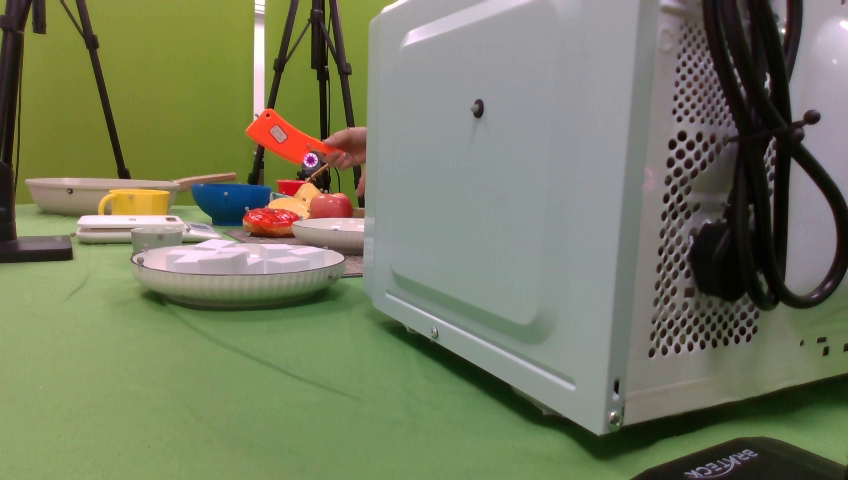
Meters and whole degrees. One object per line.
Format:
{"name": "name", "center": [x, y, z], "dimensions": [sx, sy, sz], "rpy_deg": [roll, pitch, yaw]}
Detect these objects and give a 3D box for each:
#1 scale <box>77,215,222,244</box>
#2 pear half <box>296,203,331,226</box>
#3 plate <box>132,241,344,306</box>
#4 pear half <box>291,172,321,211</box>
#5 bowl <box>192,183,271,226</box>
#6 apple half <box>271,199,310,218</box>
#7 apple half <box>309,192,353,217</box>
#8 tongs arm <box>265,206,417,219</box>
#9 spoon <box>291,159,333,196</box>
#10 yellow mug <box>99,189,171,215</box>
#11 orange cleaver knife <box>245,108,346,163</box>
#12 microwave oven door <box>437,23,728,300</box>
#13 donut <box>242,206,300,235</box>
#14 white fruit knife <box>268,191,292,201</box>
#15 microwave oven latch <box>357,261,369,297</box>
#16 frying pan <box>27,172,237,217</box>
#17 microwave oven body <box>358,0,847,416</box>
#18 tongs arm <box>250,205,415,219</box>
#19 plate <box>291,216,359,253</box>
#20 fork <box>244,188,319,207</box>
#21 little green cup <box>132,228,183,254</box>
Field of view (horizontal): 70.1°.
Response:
{"name": "scale", "center": [-0.434, -0.019, 0.963], "dimensions": [0.202, 0.031, 0.148], "rpy_deg": [-1, 9, -27]}
{"name": "pear half", "center": [-0.229, -0.049, 1.258], "dimensions": [0.070, 0.031, 0.088], "rpy_deg": [0, 23, -3]}
{"name": "plate", "center": [-0.187, 0.033, 0.625], "dimensions": [0.208, 0.039, 0.207], "rpy_deg": [2, 8, 0]}
{"name": "pear half", "center": [-0.228, -0.077, 1.182], "dimensions": [0.076, 0.110, 0.056], "rpy_deg": [-2, 7, 2]}
{"name": "bowl", "center": [-0.382, -0.071, 1.202], "dimensions": [0.151, 0.077, 0.151], "rpy_deg": [3, 7, 0]}
{"name": "apple half", "center": [-0.254, -0.039, 1.143], "dimensions": [0.081, 0.032, 0.081], "rpy_deg": [18, 44, -18]}
{"name": "apple half", "center": [-0.164, -0.050, 1.105], "dimensions": [0.081, 0.074, 0.053], "rpy_deg": [2, 10, -41]}
{"name": "tongs arm", "center": [-0.174, -0.061, 1.363], "dimensions": [0.387, 0.026, 0.050], "rpy_deg": [-1, 2, -32]}
{"name": "spoon", "center": [-0.316, -0.159, 1.640], "dimensions": [0.194, 0.022, 0.041], "rpy_deg": [-50, 32, -20]}
{"name": "yellow mug", "center": [-0.519, -0.055, 1.080], "dimensions": [0.099, 0.064, 0.131], "rpy_deg": [7, 9, 26]}
{"name": "orange cleaver knife", "center": [-0.256, -0.195, 1.227], "dimensions": [0.212, 0.077, 0.012], "rpy_deg": [24, 11, -36]}
{"name": "microwave oven door", "center": [0.181, -0.073, 0.621], "dimensions": [0.358, 0.243, 0.039], "rpy_deg": [-2, 8, -29]}
{"name": "donut", "center": [-0.263, -0.032, 1.039], "dimensions": [0.099, 0.048, 0.099], "rpy_deg": [4, 10, 0]}
{"name": "white fruit knife", "center": [-0.364, -0.105, 1.464], "dimensions": [0.208, 0.027, 0.016], "rpy_deg": [15, -1, -34]}
{"name": "microwave oven latch", "center": [-0.019, 0.033, 0.530], "dimensions": [0.079, 0.029, 0.030], "rpy_deg": [-1, 7, -26]}
{"name": "frying pan", "center": [-0.624, -0.118, 1.387], "dimensions": [0.305, 0.102, 0.490], "rpy_deg": [8, 17, 32]}
{"name": "microwave oven body", "center": [0.211, -0.047, 0.474], "dimensions": [0.444, 0.260, 0.324], "rpy_deg": [-1, 7, -28]}
{"name": "tongs arm", "center": [-0.212, -0.067, 1.440], "dimensions": [0.389, 0.027, 0.028], "rpy_deg": [0, -1, -17]}
{"name": "plate", "center": [-0.103, -0.009, 0.945], "dimensions": [0.209, 0.038, 0.209], "rpy_deg": [2, 8, 0]}
{"name": "fork", "center": [-0.356, -0.105, 1.526], "dimensions": [0.208, 0.018, 0.028], "rpy_deg": [16, -6, -41]}
{"name": "little green cup", "center": [-0.342, 0.006, 0.779], "dimensions": [0.061, 0.038, 0.061], "rpy_deg": [2, 8, 0]}
